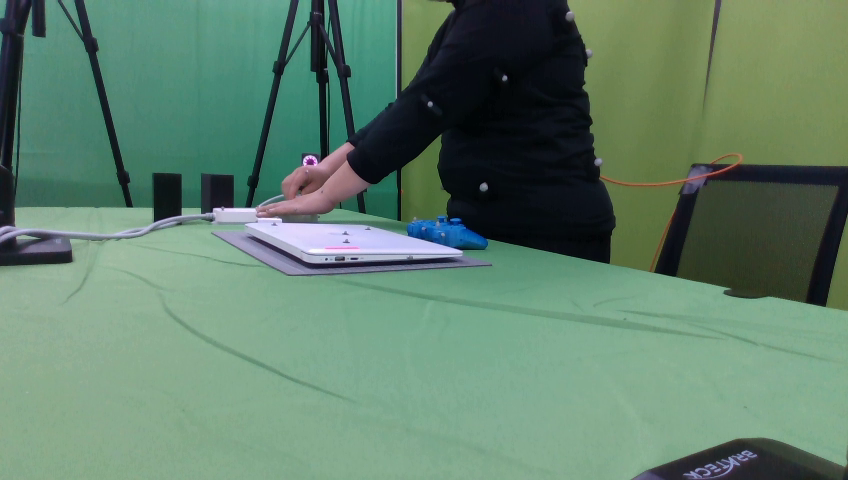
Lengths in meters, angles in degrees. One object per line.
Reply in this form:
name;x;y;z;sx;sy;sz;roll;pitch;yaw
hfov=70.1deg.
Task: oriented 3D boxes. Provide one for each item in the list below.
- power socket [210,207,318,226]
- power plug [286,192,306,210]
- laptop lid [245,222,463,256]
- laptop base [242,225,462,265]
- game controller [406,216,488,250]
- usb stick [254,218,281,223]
power socket;-0.335;-0.050;1.282;0.228;0.032;0.072;-1;10;-29
power plug;-0.284;-0.080;1.342;0.035;0.052;0.072;1;9;-20
laptop lid;-0.126;-0.005;0.951;0.243;0.013;0.355;1;7;-28
laptop base;-0.129;0.007;0.951;0.237;0.023;0.352;2;6;-30
game controller;0.035;-0.013;1.067;0.097;0.051;0.154;-7;11;-29
usb stick;-0.296;-0.027;1.114;0.059;0.027;0.021;-3;11;-30
